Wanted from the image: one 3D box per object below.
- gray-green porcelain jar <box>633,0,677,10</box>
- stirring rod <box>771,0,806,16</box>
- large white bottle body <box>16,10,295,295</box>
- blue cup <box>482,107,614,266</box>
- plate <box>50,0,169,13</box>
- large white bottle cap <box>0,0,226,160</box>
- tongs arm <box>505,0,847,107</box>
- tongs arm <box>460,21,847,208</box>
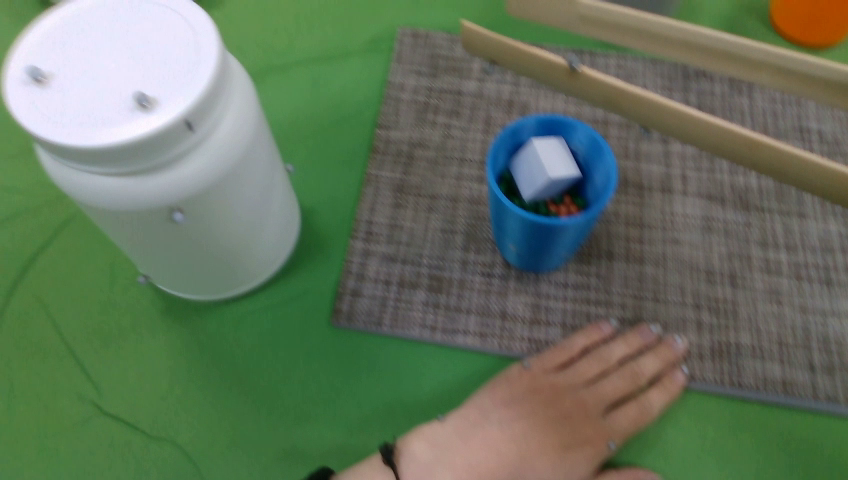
[{"bbox_3d":[0.190,-0.262,0.545,0.106,0.127,0.105,0,63,0],"label":"gray-green porcelain jar"},{"bbox_3d":[0.401,-0.253,0.536,0.176,0.006,0.014,-26,59,34],"label":"stirring rod"},{"bbox_3d":[-0.167,-0.054,0.404,0.130,0.186,0.129,0,63,0],"label":"large white bottle body"},{"bbox_3d":[0.082,-0.029,0.436,0.092,0.101,0.092,-1,63,2],"label":"blue cup"},{"bbox_3d":[-0.299,-0.301,0.611,0.208,0.039,0.206,0,63,0],"label":"plate"},{"bbox_3d":[-0.167,-0.094,0.329,0.115,0.018,0.114,0,63,0],"label":"large white bottle cap"},{"bbox_3d":[0.203,-0.066,0.289,0.385,0.028,0.028,28,65,23],"label":"tongs arm"},{"bbox_3d":[0.186,-0.043,0.279,0.382,0.027,0.050,31,70,23],"label":"tongs arm"}]
